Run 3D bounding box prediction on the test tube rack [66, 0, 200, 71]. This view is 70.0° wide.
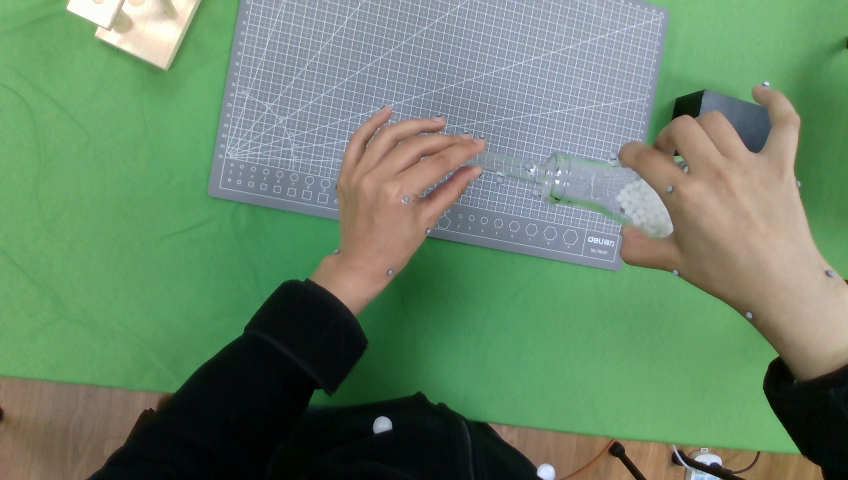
[{"bbox_3d":[-0.215,-0.280,0.531,0.067,0.085,0.242,25,88,-13],"label":"test tube rack"}]

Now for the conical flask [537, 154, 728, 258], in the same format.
[{"bbox_3d":[0.146,-0.033,0.436,0.122,0.075,0.075,11,90,-7],"label":"conical flask"}]

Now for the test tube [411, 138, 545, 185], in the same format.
[{"bbox_3d":[0.038,-0.066,0.497,0.017,0.149,0.017,-16,115,-36],"label":"test tube"}]
